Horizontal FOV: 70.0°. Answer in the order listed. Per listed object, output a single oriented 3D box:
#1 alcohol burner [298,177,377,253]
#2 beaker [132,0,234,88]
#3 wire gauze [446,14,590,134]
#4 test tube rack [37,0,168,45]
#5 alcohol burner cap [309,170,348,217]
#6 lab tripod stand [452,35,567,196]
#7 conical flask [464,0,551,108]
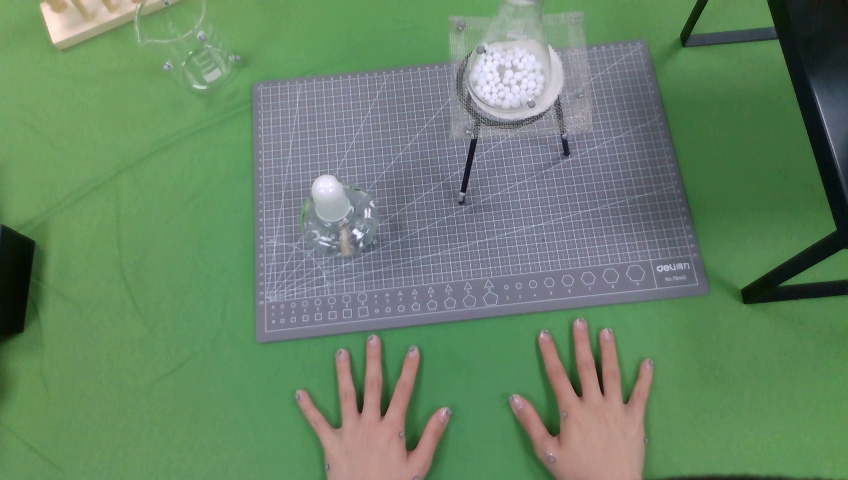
[{"bbox_3d":[-0.085,-0.031,0.580,0.078,0.120,0.077,0,70,1],"label":"alcohol burner"},{"bbox_3d":[-0.258,-0.218,0.658,0.073,0.101,0.084,40,78,15],"label":"beaker"},{"bbox_3d":[0.081,-0.149,0.530,0.121,0.011,0.124,0,70,0],"label":"wire gauze"},{"bbox_3d":[-0.345,-0.323,0.703,0.242,0.086,0.066,-25,73,-6],"label":"test tube rack"},{"bbox_3d":[-0.088,-0.045,0.545,0.034,0.048,0.033,0,65,0],"label":"alcohol burner cap"},{"bbox_3d":[0.077,-0.124,0.592,0.148,0.132,0.147,0,70,1],"label":"lab tripod stand"},{"bbox_3d":[0.070,-0.164,0.473,0.075,0.122,0.075,-1,72,2],"label":"conical flask"}]
